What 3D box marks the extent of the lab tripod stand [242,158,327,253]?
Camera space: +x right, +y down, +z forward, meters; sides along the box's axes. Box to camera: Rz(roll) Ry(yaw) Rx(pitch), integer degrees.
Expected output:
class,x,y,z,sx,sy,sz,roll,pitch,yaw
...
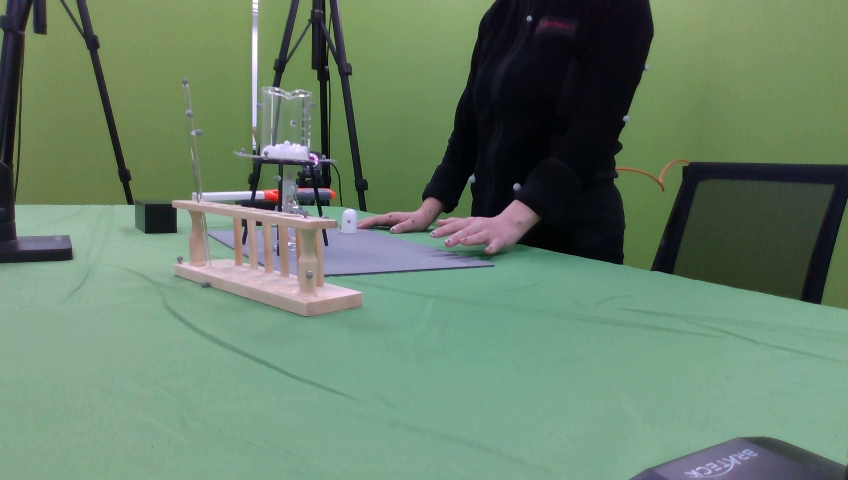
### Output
class,x,y,z,sx,sy,sz,roll,pitch,yaw
lab tripod stand,-0.207,-0.054,0.895,0.148,0.131,0.148,2,5,0

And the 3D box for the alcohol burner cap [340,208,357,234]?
class,x,y,z,sx,sy,sz,roll,pitch,yaw
alcohol burner cap,-0.142,-0.035,1.136,0.034,0.048,0.034,2,7,0

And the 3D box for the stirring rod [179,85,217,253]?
class,x,y,z,sx,sy,sz,roll,pitch,yaw
stirring rod,-0.236,-0.073,0.634,0.006,0.176,0.014,1,10,42

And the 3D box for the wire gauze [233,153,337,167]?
class,x,y,z,sx,sy,sz,roll,pitch,yaw
wire gauze,-0.205,-0.119,0.887,0.122,0.011,0.124,2,4,-32

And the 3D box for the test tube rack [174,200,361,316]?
class,x,y,z,sx,sy,sz,roll,pitch,yaw
test tube rack,-0.169,0.009,0.622,0.241,0.085,0.067,9,9,41

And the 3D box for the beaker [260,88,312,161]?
class,x,y,z,sx,sy,sz,roll,pitch,yaw
beaker,-0.201,-0.166,0.876,0.074,0.100,0.083,1,7,-18

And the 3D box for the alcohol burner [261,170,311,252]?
class,x,y,z,sx,sy,sz,roll,pitch,yaw
alcohol burner,-0.201,-0.043,0.891,0.078,0.119,0.078,1,6,0

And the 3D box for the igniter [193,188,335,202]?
class,x,y,z,sx,sy,sz,roll,pitch,yaw
igniter,-0.312,-0.089,1.209,0.278,0.025,0.057,-5,13,-31
